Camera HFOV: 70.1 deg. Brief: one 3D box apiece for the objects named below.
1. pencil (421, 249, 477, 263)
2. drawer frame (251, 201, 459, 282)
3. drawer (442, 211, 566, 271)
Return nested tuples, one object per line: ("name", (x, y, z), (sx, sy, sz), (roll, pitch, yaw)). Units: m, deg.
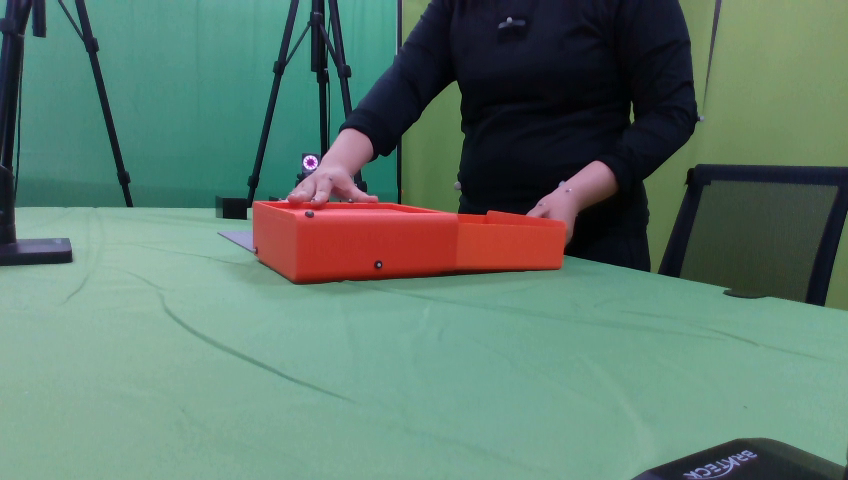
("pencil", (0.041, 0.021, 0.876), (0.012, 0.012, 0.195), (6, 5, 26))
("drawer frame", (-0.095, -0.006, 0.789), (0.215, 0.082, 0.200), (-2, 9, -30))
("drawer", (0.062, -0.003, 0.878), (0.213, 0.073, 0.193), (0, 8, -30))
